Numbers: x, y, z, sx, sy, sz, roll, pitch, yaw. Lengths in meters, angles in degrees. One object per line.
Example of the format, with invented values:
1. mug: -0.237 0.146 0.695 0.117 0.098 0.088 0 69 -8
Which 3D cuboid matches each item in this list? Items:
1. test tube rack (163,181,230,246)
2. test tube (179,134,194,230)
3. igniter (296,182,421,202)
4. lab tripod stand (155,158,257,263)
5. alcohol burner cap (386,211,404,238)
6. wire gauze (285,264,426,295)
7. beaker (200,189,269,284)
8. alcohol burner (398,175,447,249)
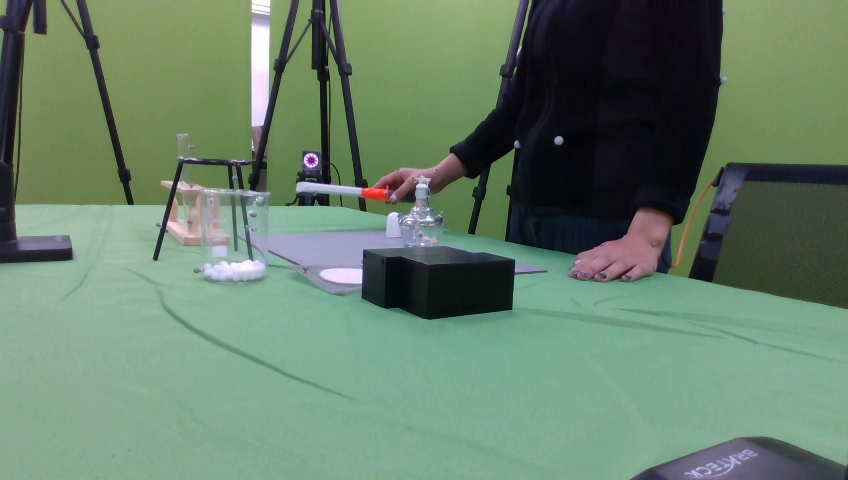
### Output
1. test tube rack: -0.387 -0.050 1.015 0.067 0.085 0.241 -2 9 -30
2. test tube: -0.366 -0.089 0.938 0.017 0.150 0.017 -1 9 1
3. igniter: -0.127 -0.098 1.240 0.278 0.025 0.057 2 1 -35
4. lab tripod stand: -0.275 -0.041 0.797 0.148 0.131 0.148 2 9 0
5. alcohol burner cap: -0.053 -0.029 1.107 0.034 0.048 0.034 2 8 0
6. wire gauze: -0.079 0.039 0.692 0.122 0.011 0.124 -4 11 -37
7. beaker: -0.209 -0.006 0.676 0.073 0.100 0.084 7 8 28
8. alcohol burner: -0.002 -0.046 0.973 0.078 0.119 0.078 0 7 0
